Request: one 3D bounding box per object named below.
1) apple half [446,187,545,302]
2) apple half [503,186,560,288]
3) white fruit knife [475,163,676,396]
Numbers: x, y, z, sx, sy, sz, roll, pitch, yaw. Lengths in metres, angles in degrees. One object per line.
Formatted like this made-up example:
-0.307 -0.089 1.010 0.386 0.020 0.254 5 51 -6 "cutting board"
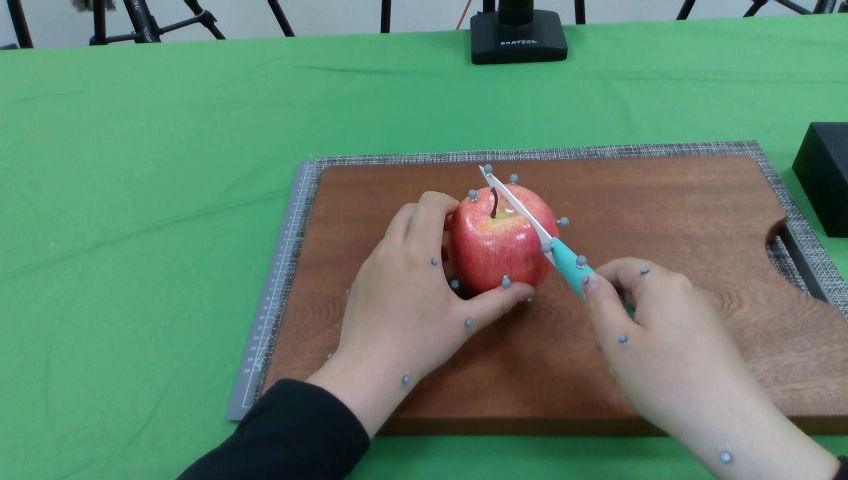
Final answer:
0.044 0.009 0.436 0.053 0.075 0.080 -25 51 -14 "apple half"
0.079 -0.005 0.447 0.033 0.082 0.080 -25 47 -15 "apple half"
0.086 0.012 0.390 0.016 0.028 0.205 -25 53 -15 "white fruit knife"
